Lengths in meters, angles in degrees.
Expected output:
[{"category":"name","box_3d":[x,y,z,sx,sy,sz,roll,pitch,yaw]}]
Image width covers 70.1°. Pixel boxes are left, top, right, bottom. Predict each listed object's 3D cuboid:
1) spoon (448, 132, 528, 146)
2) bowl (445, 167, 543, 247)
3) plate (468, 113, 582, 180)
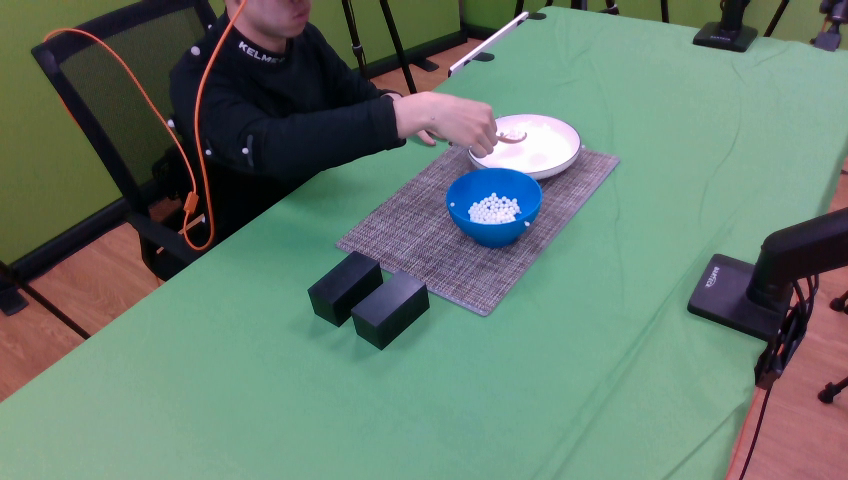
[{"category":"spoon","box_3d":[0.108,-0.171,1.017,0.195,0.021,0.041,-10,28,-43]},{"category":"bowl","box_3d":[0.111,-0.042,0.952,0.151,0.077,0.150,-4,41,4]},{"category":"plate","box_3d":[0.186,-0.169,1.122,0.207,0.039,0.206,-4,40,4]}]
